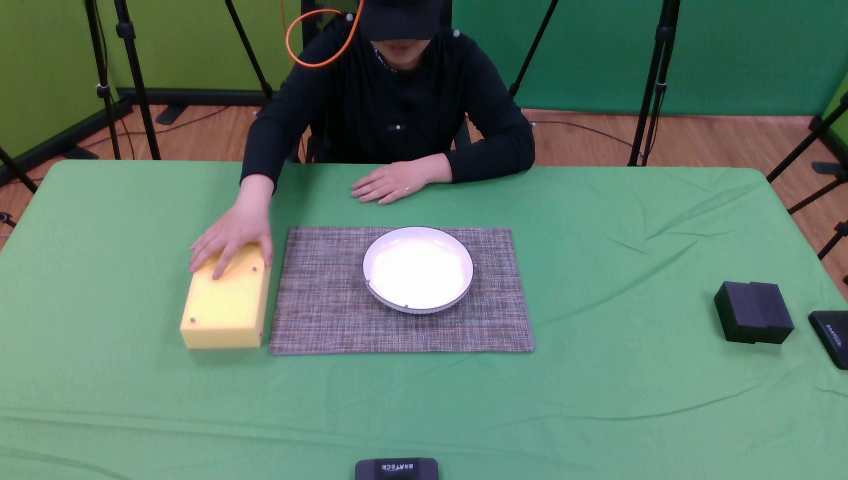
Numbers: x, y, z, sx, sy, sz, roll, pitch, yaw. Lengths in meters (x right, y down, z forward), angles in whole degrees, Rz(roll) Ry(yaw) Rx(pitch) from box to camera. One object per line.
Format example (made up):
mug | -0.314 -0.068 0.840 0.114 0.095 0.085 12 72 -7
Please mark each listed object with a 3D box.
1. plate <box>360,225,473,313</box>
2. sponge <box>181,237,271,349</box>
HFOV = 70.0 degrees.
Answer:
plate | -0.014 0.057 1.127 0.208 0.039 0.206 2 46 -2
sponge | -0.341 0.088 1.062 0.118 0.061 0.205 -2 47 -5
